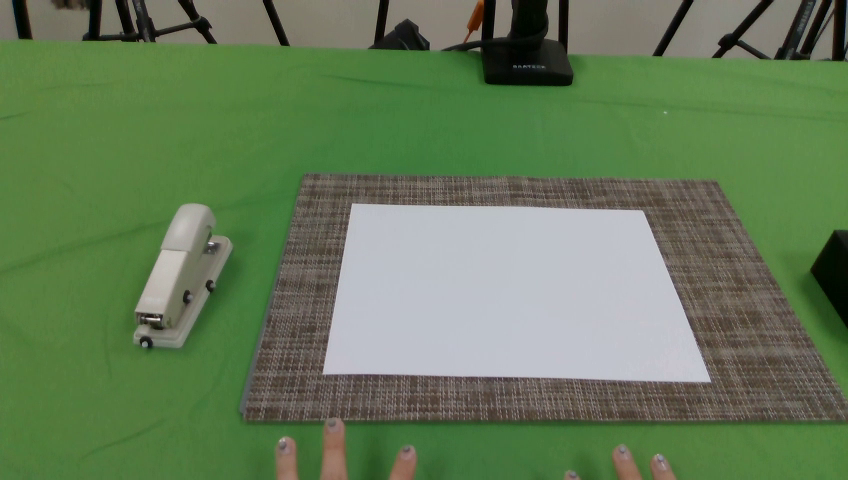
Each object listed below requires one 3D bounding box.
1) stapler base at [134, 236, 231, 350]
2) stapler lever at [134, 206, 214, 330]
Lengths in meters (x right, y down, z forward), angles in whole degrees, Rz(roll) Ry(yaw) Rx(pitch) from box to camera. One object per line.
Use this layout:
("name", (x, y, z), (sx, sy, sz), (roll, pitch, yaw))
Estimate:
("stapler base", (-0.206, 0.036, 0.521), (0.041, 0.024, 0.129), (3, 44, 5))
("stapler lever", (-0.206, 0.019, 0.503), (0.027, 0.040, 0.117), (3, 44, 5))
